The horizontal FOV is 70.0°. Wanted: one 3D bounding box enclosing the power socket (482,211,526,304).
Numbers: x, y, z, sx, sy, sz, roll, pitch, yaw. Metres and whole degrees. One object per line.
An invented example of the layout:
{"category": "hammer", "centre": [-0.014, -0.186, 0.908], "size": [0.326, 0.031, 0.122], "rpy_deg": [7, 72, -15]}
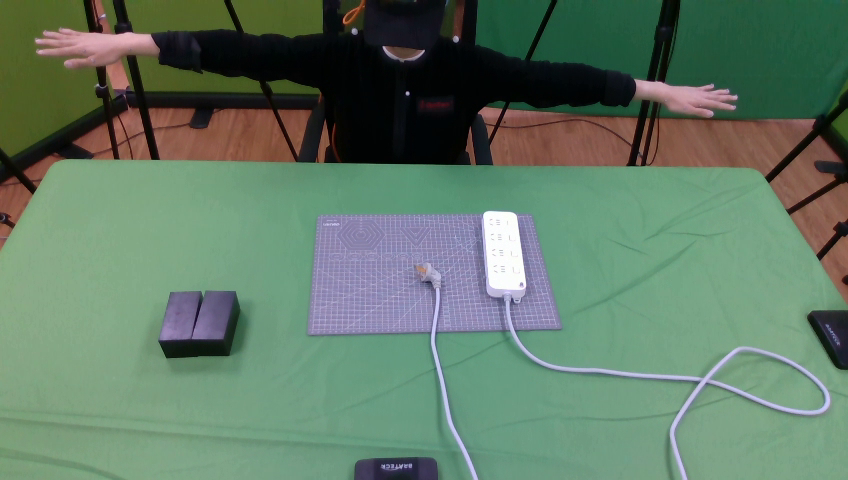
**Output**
{"category": "power socket", "centre": [0.153, 0.025, 1.173], "size": [0.072, 0.033, 0.225], "rpy_deg": [2, 46, -1]}

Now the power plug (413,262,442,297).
{"category": "power plug", "centre": [0.007, 0.068, 1.112], "size": [0.053, 0.035, 0.072], "rpy_deg": [12, 25, -14]}
